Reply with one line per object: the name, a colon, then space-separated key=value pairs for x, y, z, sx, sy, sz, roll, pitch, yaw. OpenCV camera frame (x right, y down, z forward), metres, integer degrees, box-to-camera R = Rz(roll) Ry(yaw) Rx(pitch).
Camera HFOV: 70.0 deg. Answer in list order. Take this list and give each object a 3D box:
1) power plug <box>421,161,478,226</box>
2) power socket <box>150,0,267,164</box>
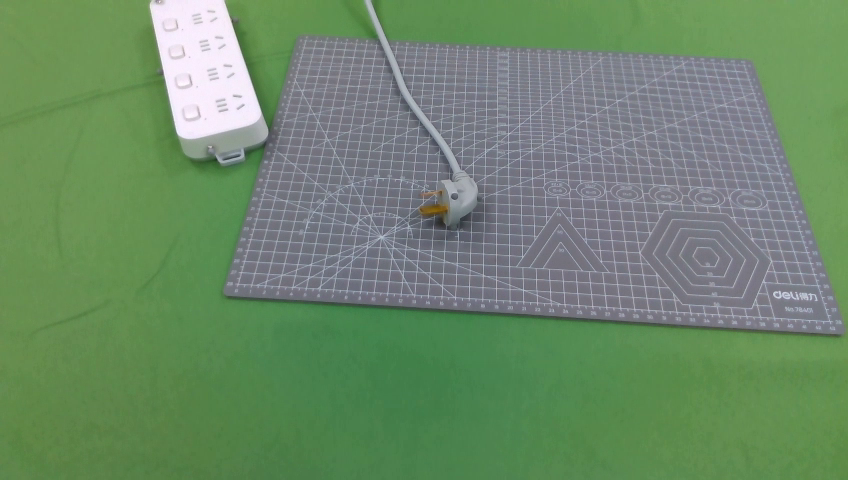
power plug: x=0.021 y=-0.036 z=0.448 sx=0.035 sy=0.073 sz=0.052 roll=-1 pitch=88 yaw=9
power socket: x=-0.202 y=-0.161 z=0.558 sx=0.072 sy=0.033 sz=0.224 roll=-16 pitch=58 yaw=-13
